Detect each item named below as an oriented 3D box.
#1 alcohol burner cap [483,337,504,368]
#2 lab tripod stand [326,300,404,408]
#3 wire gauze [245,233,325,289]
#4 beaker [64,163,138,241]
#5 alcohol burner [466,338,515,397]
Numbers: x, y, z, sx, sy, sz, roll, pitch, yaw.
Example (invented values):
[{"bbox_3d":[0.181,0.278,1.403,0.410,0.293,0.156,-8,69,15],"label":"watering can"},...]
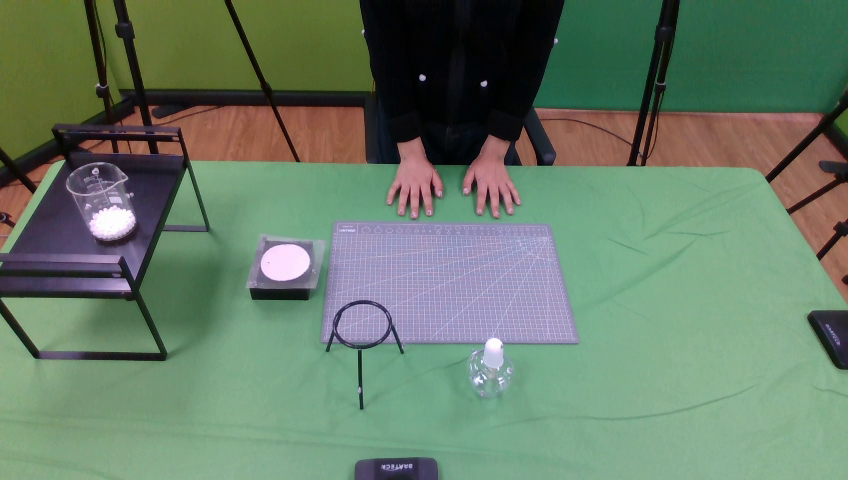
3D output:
[{"bbox_3d":[0.108,0.169,0.928,0.034,0.048,0.033,0,41,0],"label":"alcohol burner cap"},{"bbox_3d":[-0.099,0.167,0.950,0.148,0.132,0.147,1,47,-1],"label":"lab tripod stand"},{"bbox_3d":[-0.245,0.038,1.082,0.121,0.011,0.124,5,47,-3],"label":"wire gauze"},{"bbox_3d":[-0.478,-0.055,0.910,0.084,0.101,0.073,-9,48,-13],"label":"beaker"},{"bbox_3d":[0.106,0.194,0.952,0.078,0.120,0.077,1,45,0],"label":"alcohol burner"}]
